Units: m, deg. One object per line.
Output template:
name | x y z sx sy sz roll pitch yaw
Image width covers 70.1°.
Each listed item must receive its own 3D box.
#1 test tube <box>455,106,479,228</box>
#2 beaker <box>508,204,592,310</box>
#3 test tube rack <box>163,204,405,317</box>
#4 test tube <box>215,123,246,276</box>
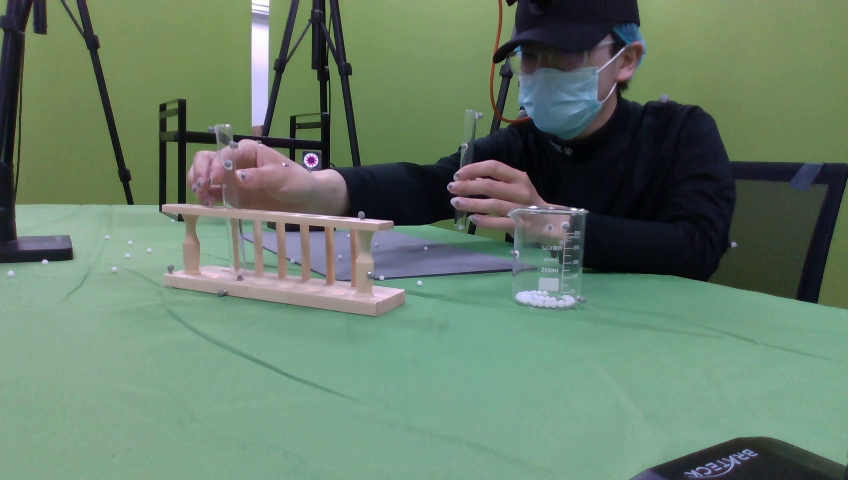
test tube | 0.052 -0.089 0.744 0.017 0.150 0.017 5 9 0
beaker | 0.125 0.016 0.613 0.084 0.100 0.074 1 7 -5
test tube rack | -0.141 0.013 0.601 0.241 0.085 0.067 5 8 21
test tube | -0.190 -0.038 0.594 0.017 0.150 0.017 -3 9 1
